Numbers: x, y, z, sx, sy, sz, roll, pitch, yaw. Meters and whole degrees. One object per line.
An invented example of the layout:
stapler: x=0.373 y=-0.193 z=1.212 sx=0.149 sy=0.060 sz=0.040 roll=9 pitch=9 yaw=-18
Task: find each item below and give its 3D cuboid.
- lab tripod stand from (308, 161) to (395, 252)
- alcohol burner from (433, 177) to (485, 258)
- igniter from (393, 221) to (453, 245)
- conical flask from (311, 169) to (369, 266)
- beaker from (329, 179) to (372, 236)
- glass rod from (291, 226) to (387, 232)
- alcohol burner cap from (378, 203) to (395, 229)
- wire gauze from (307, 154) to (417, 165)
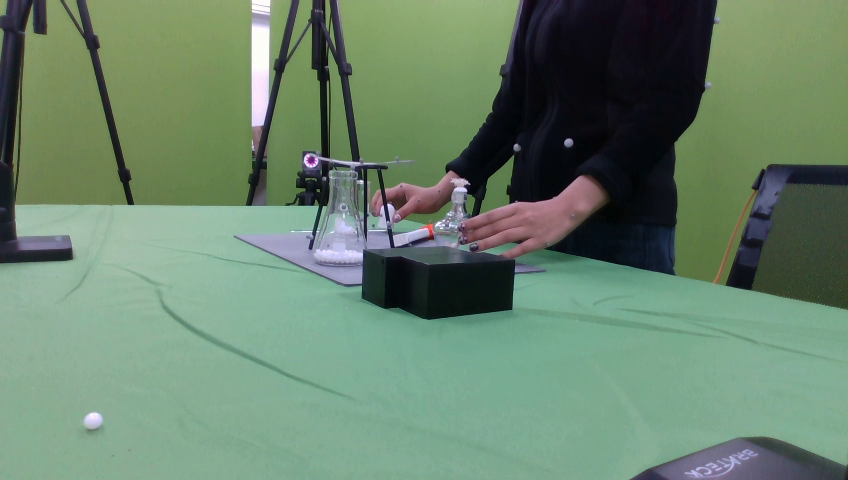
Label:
lab tripod stand: x=-0.098 y=-0.053 z=0.919 sx=0.148 sy=0.131 sz=0.148 roll=4 pitch=7 yaw=0
alcohol burner: x=0.052 y=-0.033 z=0.894 sx=0.078 sy=0.119 sz=0.078 roll=2 pitch=9 yaw=0
igniter: x=0.003 y=-0.015 z=1.083 sx=0.057 sy=0.025 sz=0.277 roll=-13 pitch=1 yaw=17
conical flask: x=-0.107 y=-0.031 z=0.786 sx=0.075 sy=0.122 sz=0.075 roll=2 pitch=8 yaw=0
beaker: x=-0.137 y=-0.061 z=1.101 sx=0.084 sy=0.100 sz=0.074 roll=4 pitch=7 yaw=20
glass rod: x=-0.161 y=-0.022 z=1.177 sx=0.201 sy=0.008 sz=0.008 roll=-2 pitch=8 yaw=-29
alcohol burner cap: x=-0.070 y=-0.047 z=1.147 sx=0.034 sy=0.048 sz=0.034 roll=5 pitch=7 yaw=0
wire gauze: x=-0.094 y=-0.120 z=0.913 sx=0.122 sy=0.011 sz=0.124 roll=-5 pitch=11 yaw=-45
